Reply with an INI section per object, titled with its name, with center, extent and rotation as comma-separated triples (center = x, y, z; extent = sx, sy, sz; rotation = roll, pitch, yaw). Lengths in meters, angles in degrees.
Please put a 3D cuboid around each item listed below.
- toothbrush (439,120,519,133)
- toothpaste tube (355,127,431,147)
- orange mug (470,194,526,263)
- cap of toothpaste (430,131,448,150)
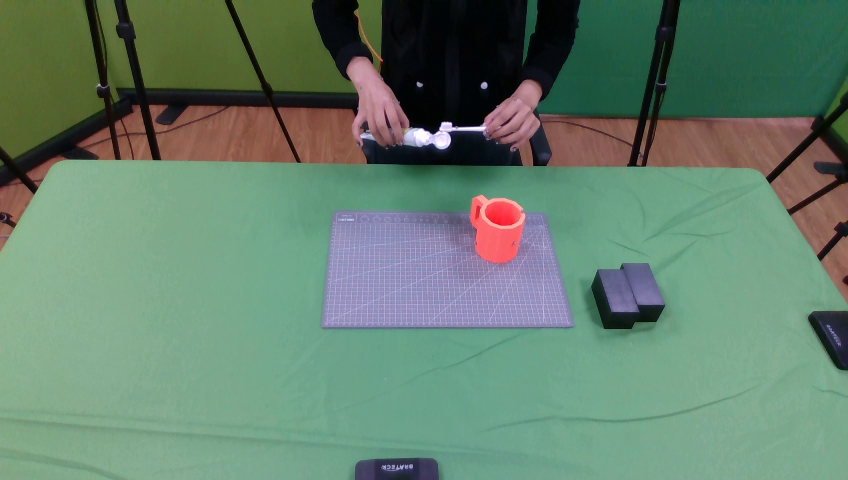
[toothbrush]
center = 0.110, -0.217, 1.172
extent = 0.182, 0.014, 0.016
rotation = -2, 52, -29
[toothpaste tube]
center = -0.056, -0.207, 1.192
extent = 0.164, 0.034, 0.055
rotation = 12, 30, 31
[orange mug]
center = 0.136, -0.030, 1.180
extent = 0.083, 0.101, 0.125
rotation = -26, 58, -26
[cap of toothpaste]
center = 0.029, -0.192, 1.164
extent = 0.037, 0.037, 0.011
rotation = 14, 7, 10
